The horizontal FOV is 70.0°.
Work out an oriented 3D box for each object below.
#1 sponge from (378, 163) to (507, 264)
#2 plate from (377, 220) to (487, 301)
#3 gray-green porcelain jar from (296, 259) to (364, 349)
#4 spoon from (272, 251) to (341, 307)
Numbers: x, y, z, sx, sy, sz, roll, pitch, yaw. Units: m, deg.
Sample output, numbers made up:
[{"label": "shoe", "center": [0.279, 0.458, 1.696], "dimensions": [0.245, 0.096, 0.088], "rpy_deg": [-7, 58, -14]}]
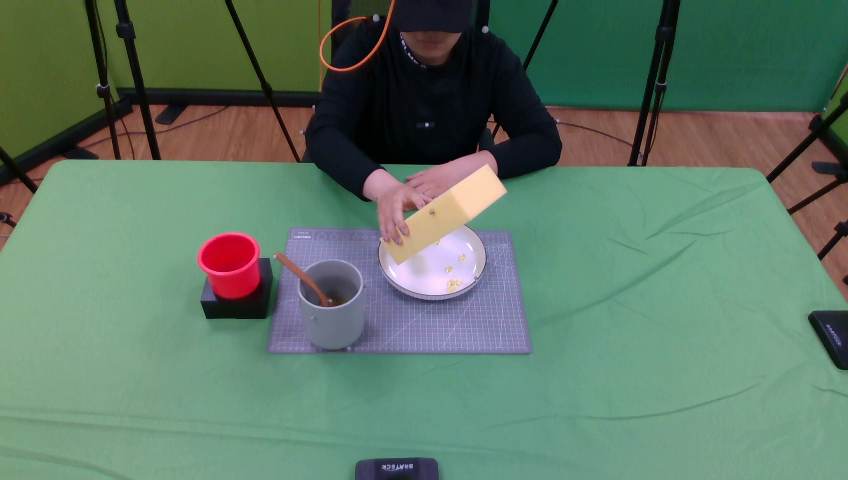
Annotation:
[{"label": "sponge", "center": [0.029, -0.042, 1.043], "dimensions": [0.061, 0.207, 0.118], "rpy_deg": [56, 45, -3]}, {"label": "plate", "center": [0.015, 0.037, 1.147], "dimensions": [0.208, 0.039, 0.206], "rpy_deg": [2, 46, -2]}, {"label": "gray-green porcelain jar", "center": [-0.152, 0.111, 1.003], "dimensions": [0.106, 0.127, 0.105], "rpy_deg": [2, 46, -2]}, {"label": "spoon", "center": [-0.180, 0.077, 0.982], "dimensions": [0.021, 0.195, 0.041], "rpy_deg": [-8, 46, 28]}]
